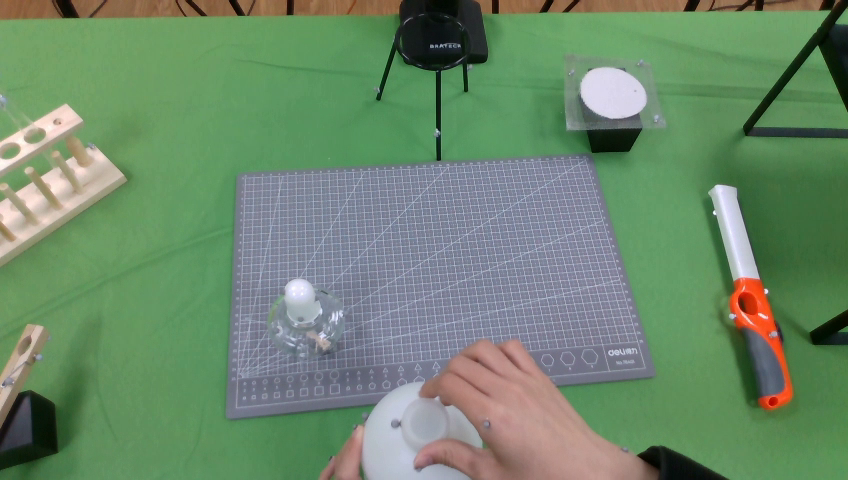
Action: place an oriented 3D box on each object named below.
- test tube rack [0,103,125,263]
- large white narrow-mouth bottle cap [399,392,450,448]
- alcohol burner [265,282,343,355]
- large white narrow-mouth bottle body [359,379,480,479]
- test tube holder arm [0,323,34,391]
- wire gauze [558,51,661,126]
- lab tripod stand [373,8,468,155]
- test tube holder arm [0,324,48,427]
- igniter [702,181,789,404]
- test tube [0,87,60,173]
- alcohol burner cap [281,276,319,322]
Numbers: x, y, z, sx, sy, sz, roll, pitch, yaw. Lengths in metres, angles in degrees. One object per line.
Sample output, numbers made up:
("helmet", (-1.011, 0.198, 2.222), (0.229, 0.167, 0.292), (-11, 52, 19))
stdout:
("test tube rack", (-0.464, -0.038, 0.657), (0.066, 0.086, 0.242), (41, 67, 17))
("large white narrow-mouth bottle cap", (0.000, 0.130, 0.439), (0.038, 0.024, 0.037), (2, 61, -3))
("alcohol burner", (-0.121, 0.071, 0.603), (0.078, 0.120, 0.077), (3, 60, -4))
("large white narrow-mouth bottle body", (-0.004, 0.173, 0.514), (0.102, 0.196, 0.101), (1, 61, -2))
("test tube holder arm", (-0.383, 0.120, 0.563), (0.010, 0.015, 0.087), (6, 62, 6))
("wire gauze", (0.234, -0.194, 0.776), (0.121, 0.011, 0.124), (3, 61, -2))
("lab tripod stand", (0.005, -0.201, 0.749), (0.148, 0.132, 0.147), (2, 62, -4))
("test tube holder arm", (-0.384, 0.159, 0.541), (0.013, 0.015, 0.177), (7, 62, 7))
("igniter", (0.368, 0.051, 0.699), (0.057, 0.025, 0.274), (6, 61, -12))
("test tube", (-0.426, -0.120, 0.647), (0.017, 0.151, 0.017), (0, 60, 0))
("alcohol burner cap", (-0.119, 0.054, 0.571), (0.034, 0.048, 0.033), (1, 56, 0))
